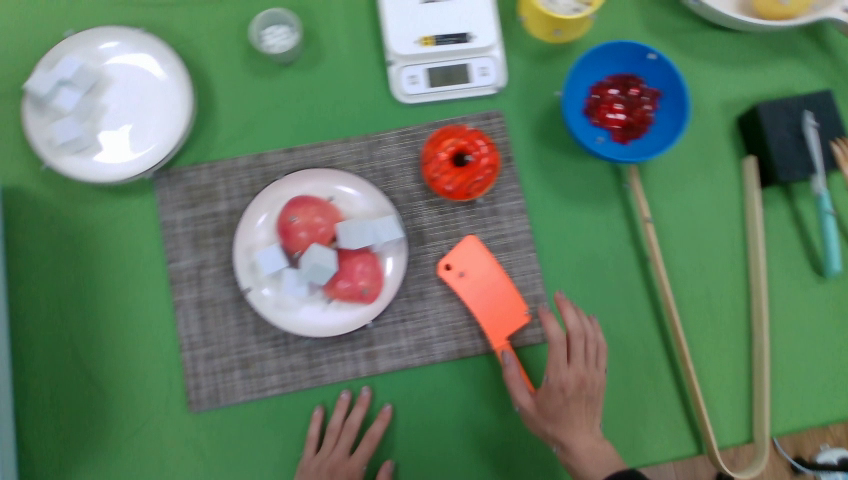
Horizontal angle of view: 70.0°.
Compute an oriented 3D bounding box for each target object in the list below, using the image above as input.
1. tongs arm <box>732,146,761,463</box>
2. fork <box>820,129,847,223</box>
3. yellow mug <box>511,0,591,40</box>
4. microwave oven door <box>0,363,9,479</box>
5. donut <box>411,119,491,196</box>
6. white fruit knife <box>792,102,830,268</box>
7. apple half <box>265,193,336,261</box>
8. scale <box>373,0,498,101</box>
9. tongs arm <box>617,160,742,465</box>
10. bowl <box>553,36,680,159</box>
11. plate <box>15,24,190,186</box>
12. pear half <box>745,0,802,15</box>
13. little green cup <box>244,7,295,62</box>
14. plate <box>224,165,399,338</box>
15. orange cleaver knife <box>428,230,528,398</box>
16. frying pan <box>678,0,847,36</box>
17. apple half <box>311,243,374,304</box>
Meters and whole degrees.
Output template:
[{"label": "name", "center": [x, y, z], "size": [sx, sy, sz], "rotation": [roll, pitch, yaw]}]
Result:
[{"label": "tongs arm", "center": [0.392, 0.073, 0.746], "size": [0.028, 0.028, 0.386], "rotation": [3, 82, -8]}, {"label": "fork", "center": [0.528, -0.037, 0.747], "size": [0.028, 0.018, 0.208], "rotation": [-21, 98, -6]}, {"label": "yellow mug", "center": [0.155, -0.330, 0.780], "size": [0.100, 0.064, 0.130], "rotation": [-44, 84, -7]}, {"label": "microwave oven door", "center": [-0.502, 0.155, 0.584], "size": [0.039, 0.244, 0.354], "rotation": [-9, 82, -2]}, {"label": "donut", "center": [0.033, -0.102, 0.750], "size": [0.099, 0.048, 0.098], "rotation": [0, 82, 0]}, {"label": "white fruit knife", "center": [0.471, -0.065, 0.742], "size": [0.016, 0.027, 0.208], "rotation": [-14, 97, -3]}, {"label": "apple half", "center": [-0.149, -0.020, 0.721], "size": [0.074, 0.053, 0.080], "rotation": [32, 81, 6]}, {"label": "scale", "center": [0.012, -0.286, 0.787], "size": [0.149, 0.031, 0.200], "rotation": [-7, 82, -2]}, {"label": "tongs arm", "center": [0.308, 0.082, 0.739], "size": [0.051, 0.026, 0.383], "rotation": [-11, 83, -7]}, {"label": "bowl", "center": [0.227, -0.165, 0.751], "size": [0.151, 0.077, 0.151], "rotation": [0, 82, -1]}, {"label": "plate", "center": [-0.394, -0.165, 0.755], "size": [0.208, 0.039, 0.207], "rotation": [0, 81, -1]}, {"label": "pear half", "center": [0.449, -0.324, 0.760], "size": [0.076, 0.110, 0.056], "rotation": [24, 82, 6]}, {"label": "little green cup", "center": [-0.194, -0.260, 0.774], "size": [0.061, 0.039, 0.061], "rotation": [0, 81, -1]}, {"label": "plate", "center": [-0.133, 0.013, 0.732], "size": [0.209, 0.038, 0.208], "rotation": [0, 82, -1]}, {"label": "orange cleaver knife", "center": [0.081, 0.087, 0.736], "size": [0.077, 0.012, 0.210], "rotation": [-29, 82, -11]}, {"label": "frying pan", "center": [0.487, -0.333, 0.769], "size": [0.307, 0.103, 0.485], "rotation": [-38, 76, -5]}, {"label": "apple half", "center": [-0.100, 0.039, 0.722], "size": [0.081, 0.033, 0.081], "rotation": [0, 83, 1]}]
